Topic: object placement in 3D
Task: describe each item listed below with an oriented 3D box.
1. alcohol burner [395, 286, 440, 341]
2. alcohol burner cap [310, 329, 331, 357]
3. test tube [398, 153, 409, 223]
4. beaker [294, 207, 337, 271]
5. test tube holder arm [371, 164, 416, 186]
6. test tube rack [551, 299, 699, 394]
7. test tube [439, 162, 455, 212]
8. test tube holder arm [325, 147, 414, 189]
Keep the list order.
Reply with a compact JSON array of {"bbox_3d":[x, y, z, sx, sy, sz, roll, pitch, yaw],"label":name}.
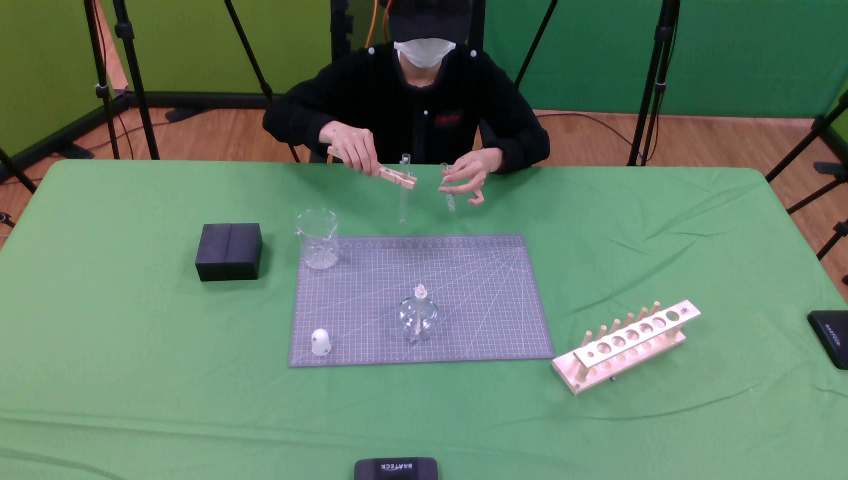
[{"bbox_3d":[-0.010,0.116,1.018,0.078,0.119,0.077,3,47,-3],"label":"alcohol burner"},{"bbox_3d":[-0.173,0.168,1.005,0.034,0.048,0.033,2,46,-2],"label":"alcohol burner cap"},{"bbox_3d":[-0.038,-0.093,1.131,0.017,0.151,0.017,3,37,-2],"label":"test tube"},{"bbox_3d":[-0.196,0.003,1.123,0.074,0.101,0.083,-23,53,-24],"label":"beaker"},{"bbox_3d":[-0.058,-0.121,1.124,0.088,0.015,0.010,19,33,1],"label":"test tube holder arm"},{"bbox_3d":[0.339,0.166,1.021,0.242,0.085,0.066,-19,50,-21],"label":"test tube rack"},{"bbox_3d":[0.045,-0.099,1.169,0.017,0.151,0.017,-4,58,7],"label":"test tube"},{"bbox_3d":[-0.102,-0.134,1.123,0.178,0.015,0.013,22,33,7],"label":"test tube holder arm"}]
